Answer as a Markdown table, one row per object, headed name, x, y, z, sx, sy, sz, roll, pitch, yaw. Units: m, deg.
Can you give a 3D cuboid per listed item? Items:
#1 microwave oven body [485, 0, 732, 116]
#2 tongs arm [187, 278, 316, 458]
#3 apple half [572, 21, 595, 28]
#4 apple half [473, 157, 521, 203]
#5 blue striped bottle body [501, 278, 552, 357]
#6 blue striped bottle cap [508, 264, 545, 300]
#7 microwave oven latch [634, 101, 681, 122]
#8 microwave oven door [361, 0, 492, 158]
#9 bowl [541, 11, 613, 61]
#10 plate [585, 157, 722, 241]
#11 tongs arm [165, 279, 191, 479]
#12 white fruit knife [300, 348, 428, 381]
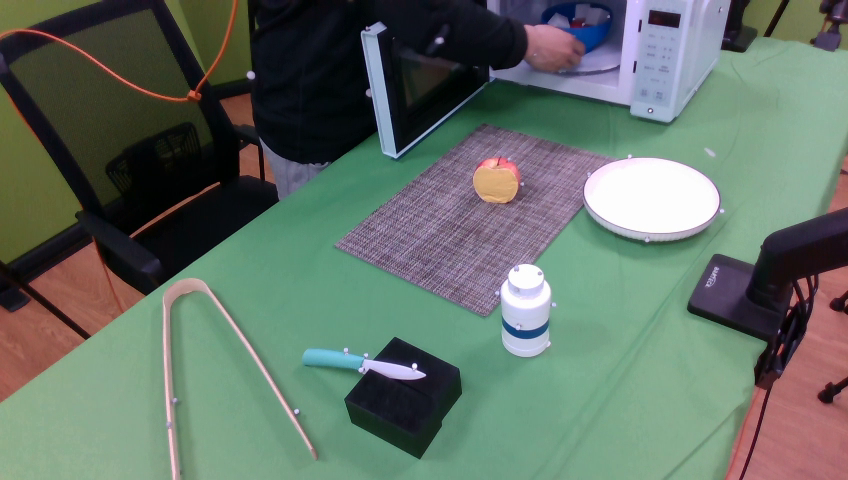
| name | x | y | z | sx | sy | sz | roll | pitch | yaw |
| --- | --- | --- | --- | --- | --- | --- | --- | --- | --- |
| microwave oven body | 0.377 | -0.463 | 1.267 | 0.438 | 0.261 | 0.327 | 21 | 49 | 30 |
| tongs arm | -0.241 | 0.154 | 0.815 | 0.028 | 0.028 | 0.384 | -32 | 45 | -21 |
| apple half | 0.336 | -0.449 | 1.299 | 0.081 | 0.033 | 0.081 | -16 | 31 | 11 |
| apple half | 0.128 | -0.106 | 1.030 | 0.080 | 0.075 | 0.053 | 4 | 38 | 19 |
| blue striped bottle body | 0.129 | 0.089 | 0.769 | 0.063 | 0.121 | 0.063 | -4 | 40 | 4 |
| blue striped bottle cap | 0.125 | 0.050 | 0.735 | 0.044 | 0.021 | 0.044 | -6 | 39 | 5 |
| microwave oven latch | 0.446 | -0.250 | 1.158 | 0.078 | 0.029 | 0.030 | 25 | 51 | 33 |
| microwave oven door | 0.022 | -0.352 | 1.183 | 0.039 | 0.245 | 0.356 | 21 | 48 | 30 |
| bowl | 0.331 | -0.436 | 1.305 | 0.151 | 0.077 | 0.151 | -8 | 30 | 5 |
| plate | 0.367 | -0.063 | 0.979 | 0.207 | 0.039 | 0.206 | -4 | 41 | 4 |
| tongs arm | -0.313 | 0.182 | 0.789 | 0.051 | 0.026 | 0.381 | -20 | 41 | -13 |
| white fruit knife | -0.079 | 0.154 | 0.748 | 0.206 | 0.027 | 0.016 | 1 | 21 | 34 |
